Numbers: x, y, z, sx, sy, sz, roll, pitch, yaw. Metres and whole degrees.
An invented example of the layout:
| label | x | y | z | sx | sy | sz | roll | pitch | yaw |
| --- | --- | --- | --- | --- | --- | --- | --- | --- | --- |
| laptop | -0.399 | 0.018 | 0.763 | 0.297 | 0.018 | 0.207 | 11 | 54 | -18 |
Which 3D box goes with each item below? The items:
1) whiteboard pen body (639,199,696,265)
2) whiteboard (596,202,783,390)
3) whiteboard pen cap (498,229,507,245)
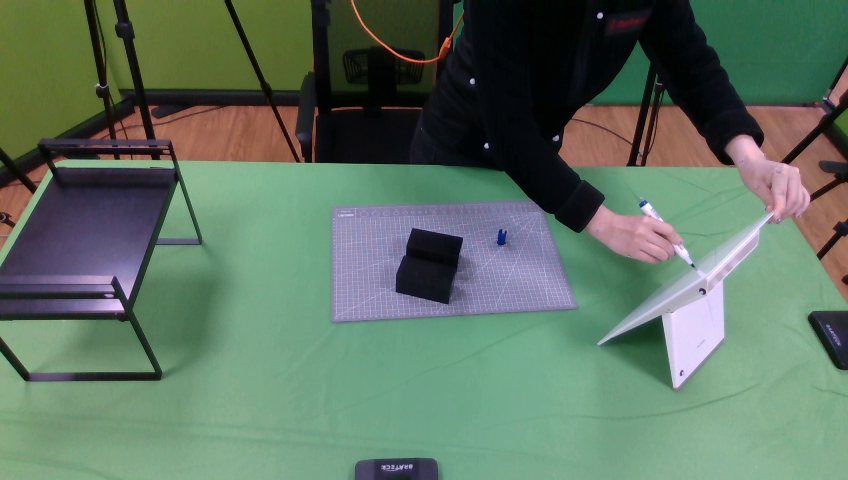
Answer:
| label | x | y | z | sx | sy | sz | roll | pitch | yaw |
| --- | --- | --- | --- | --- | --- | --- | --- | --- | --- |
| whiteboard pen body | 0.410 | -0.011 | 1.015 | 0.141 | 0.017 | 0.017 | 50 | 56 | 0 |
| whiteboard | 0.460 | 0.112 | 0.967 | 0.217 | 0.306 | 0.143 | -31 | 74 | -29 |
| whiteboard pen cap | 0.156 | -0.005 | 1.202 | 0.018 | 0.033 | 0.018 | 0 | 44 | 0 |
